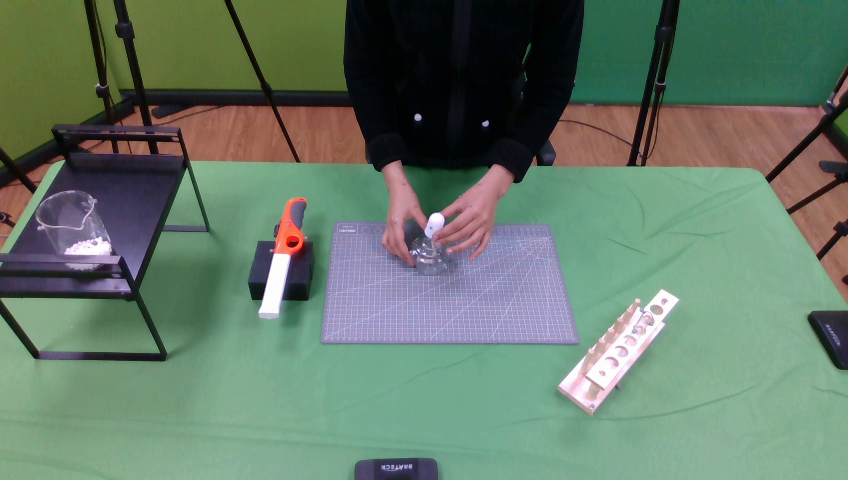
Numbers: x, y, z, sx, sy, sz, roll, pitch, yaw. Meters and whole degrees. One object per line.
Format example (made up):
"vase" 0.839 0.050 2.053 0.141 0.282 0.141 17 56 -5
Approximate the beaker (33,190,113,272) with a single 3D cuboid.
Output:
"beaker" -0.493 -0.008 0.864 0.083 0.101 0.074 37 55 27

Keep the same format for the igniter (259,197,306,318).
"igniter" -0.252 0.021 1.088 0.057 0.025 0.275 5 48 -3

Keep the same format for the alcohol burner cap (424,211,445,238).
"alcohol burner cap" 0.020 -0.031 1.082 0.034 0.048 0.033 9 46 -9

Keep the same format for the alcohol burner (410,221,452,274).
"alcohol burner" 0.013 0.008 1.119 0.078 0.120 0.077 1 48 -1

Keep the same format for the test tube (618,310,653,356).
"test tube" 0.329 0.156 0.955 0.017 0.151 0.017 2 51 -2

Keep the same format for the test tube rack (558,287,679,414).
"test tube rack" 0.326 0.170 1.009 0.066 0.085 0.242 36 54 27
